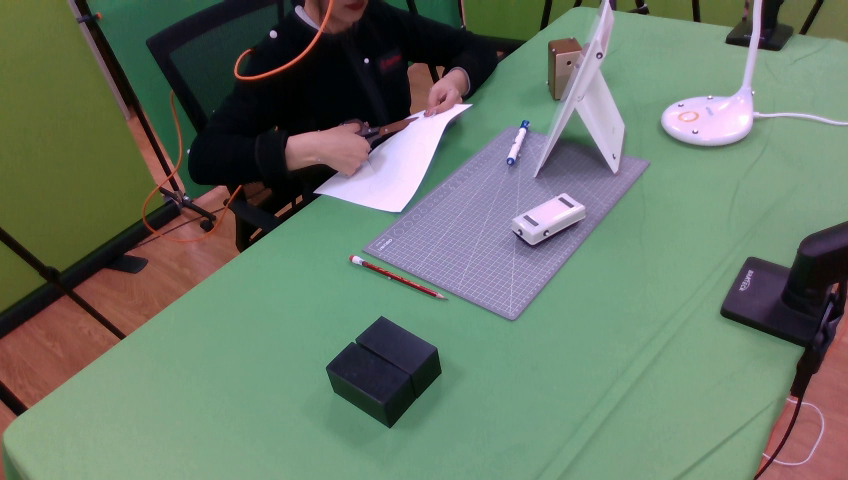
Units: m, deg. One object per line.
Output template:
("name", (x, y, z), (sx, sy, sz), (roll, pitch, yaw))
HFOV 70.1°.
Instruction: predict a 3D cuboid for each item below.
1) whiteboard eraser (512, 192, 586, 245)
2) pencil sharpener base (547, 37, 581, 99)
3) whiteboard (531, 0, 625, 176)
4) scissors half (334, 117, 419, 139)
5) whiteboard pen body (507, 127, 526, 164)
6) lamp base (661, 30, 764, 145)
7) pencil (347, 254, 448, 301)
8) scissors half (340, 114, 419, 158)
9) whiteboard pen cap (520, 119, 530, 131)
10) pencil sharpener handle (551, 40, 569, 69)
("whiteboard eraser", (0.199, -0.032, 0.962), (0.113, 0.042, 0.055), (-27, 43, -20))
("pencil sharpener base", (0.299, -0.368, 1.290), (0.061, 0.107, 0.076), (-8, 40, 2))
("whiteboard", (0.320, -0.258, 1.050), (0.144, 0.306, 0.217), (22, 45, 5))
("scissors half", (-0.091, -0.227, 1.185), (0.176, 0.040, 0.012), (-11, 24, -20))
("whiteboard pen body", (0.181, -0.189, 1.163), (0.017, 0.017, 0.140), (7, 42, 19))
("lamp base", (0.535, -0.287, 1.096), (0.179, 0.181, 0.159), (-10, 40, -4))
("pencil", (-0.044, 0.058, 0.933), (0.192, 0.012, 0.012), (22, 49, 28))
("scissors half", (-0.085, -0.208, 1.194), (0.175, 0.040, 0.012), (-31, 24, -10))
("whiteboard pen cap", (0.200, -0.226, 1.204), (0.018, 0.018, 0.033), (7, 41, 18))
("pencil sharpener handle", (0.291, -0.409, 1.321), (0.036, 0.068, 0.030), (2, 40, -6))
